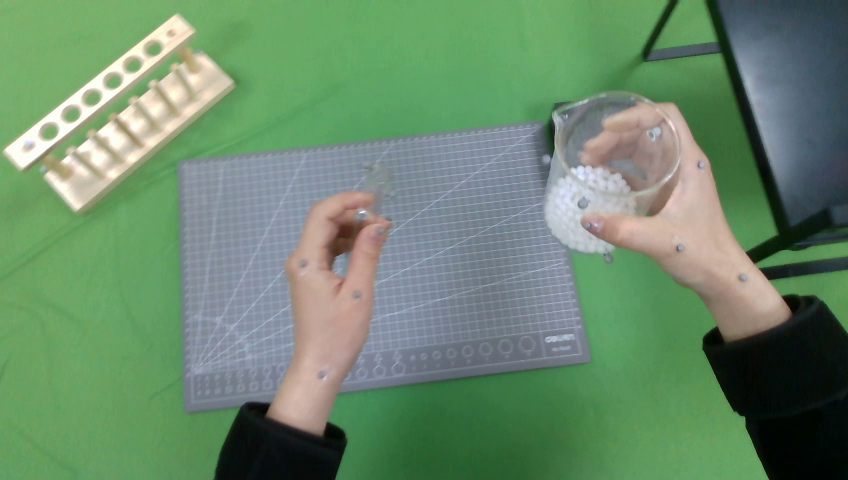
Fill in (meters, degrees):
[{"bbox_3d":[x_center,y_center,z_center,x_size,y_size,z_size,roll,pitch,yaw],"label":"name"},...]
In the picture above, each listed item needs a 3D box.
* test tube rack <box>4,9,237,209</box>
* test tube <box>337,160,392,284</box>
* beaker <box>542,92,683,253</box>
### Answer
[{"bbox_3d":[-0.344,-0.151,0.708,0.242,0.085,0.066,-43,78,-11],"label":"test tube rack"},{"bbox_3d":[-0.046,-0.006,0.439,0.017,0.151,0.017,8,57,-12],"label":"test tube"},{"bbox_3d":[0.117,-0.041,0.409,0.083,0.101,0.074,35,73,18],"label":"beaker"}]
